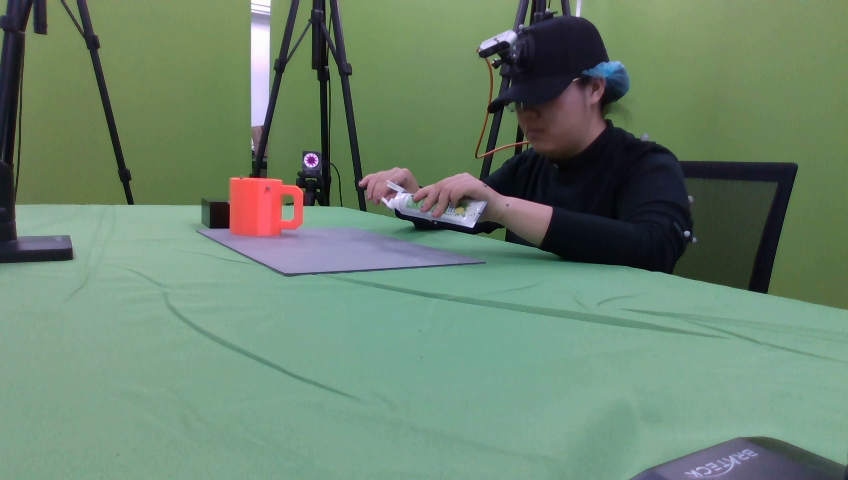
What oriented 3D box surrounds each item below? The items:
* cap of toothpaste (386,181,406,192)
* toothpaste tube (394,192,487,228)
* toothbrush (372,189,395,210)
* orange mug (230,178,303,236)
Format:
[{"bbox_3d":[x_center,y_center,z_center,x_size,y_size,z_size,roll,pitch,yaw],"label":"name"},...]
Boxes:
[{"bbox_3d":[-0.047,-0.085,0.991,0.037,0.011,0.037,25,7,-3],"label":"cap of toothpaste"},{"bbox_3d":[0.019,-0.052,0.939,0.164,0.055,0.035,12,-25,36],"label":"toothpaste tube"},{"bbox_3d":[-0.072,-0.076,1.074,0.014,0.016,0.181,24,5,-18],"label":"toothbrush"},{"bbox_3d":[-0.275,-0.060,1.058,0.126,0.101,0.083,-2,8,-5],"label":"orange mug"}]
